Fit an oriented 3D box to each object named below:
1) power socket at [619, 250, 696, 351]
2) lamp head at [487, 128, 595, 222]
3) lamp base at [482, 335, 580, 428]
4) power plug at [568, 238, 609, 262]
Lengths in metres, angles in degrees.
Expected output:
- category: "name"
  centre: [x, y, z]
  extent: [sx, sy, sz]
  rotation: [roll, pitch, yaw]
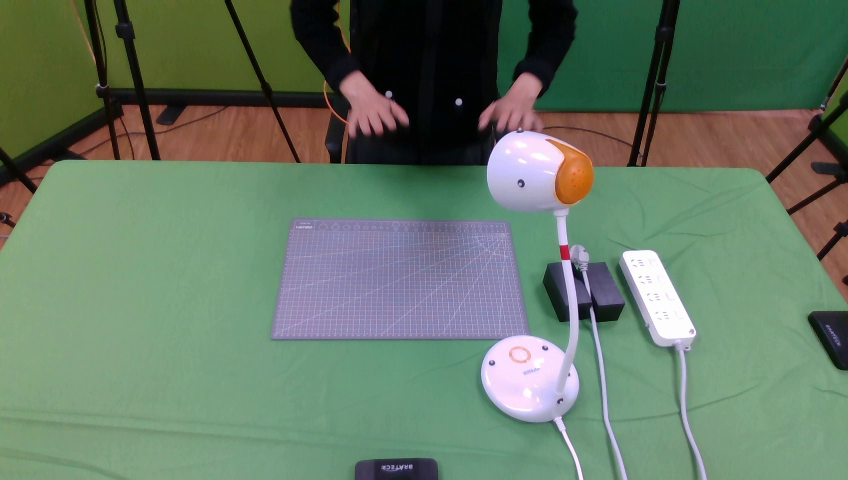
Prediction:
- category: "power socket"
  centre: [0.428, 0.103, 1.121]
  extent: [0.072, 0.033, 0.225]
  rotation: [-3, 46, -5]
- category: "lamp head"
  centre: [0.160, -0.084, 0.791]
  extent: [0.112, 0.113, 0.122]
  rotation: [-24, 28, -25]
- category: "lamp base"
  centre: [0.185, 0.177, 0.928]
  extent: [0.161, 0.181, 0.178]
  rotation: [-22, 53, -23]
- category: "power plug"
  centre: [0.305, 0.020, 1.130]
  extent: [0.073, 0.052, 0.035]
  rotation: [-9, 90, -20]
